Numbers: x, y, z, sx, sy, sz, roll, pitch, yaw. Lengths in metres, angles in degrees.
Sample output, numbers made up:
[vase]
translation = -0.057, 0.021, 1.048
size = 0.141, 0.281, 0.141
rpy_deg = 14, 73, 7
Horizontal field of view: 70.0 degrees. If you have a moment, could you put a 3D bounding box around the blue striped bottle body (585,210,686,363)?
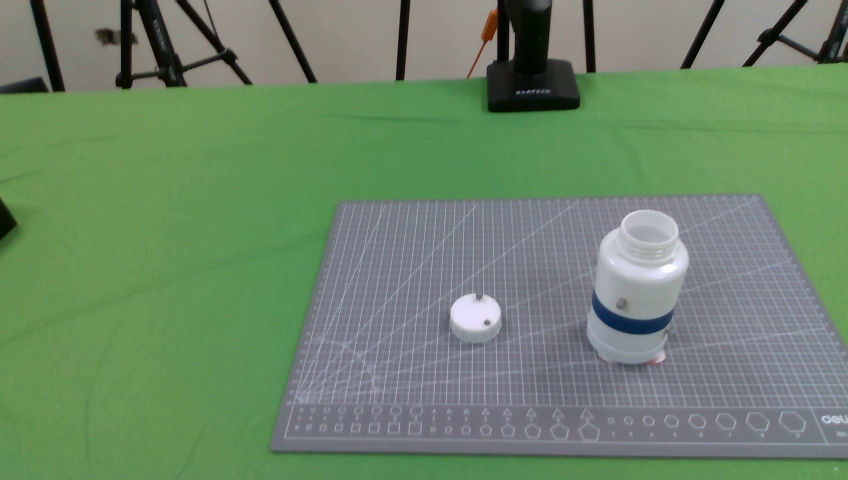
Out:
[blue striped bottle body]
translation = 0.162, 0.035, 0.467
size = 0.063, 0.122, 0.062
rpy_deg = -3, 42, 3

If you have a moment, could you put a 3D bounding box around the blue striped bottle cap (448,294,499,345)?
[blue striped bottle cap]
translation = 0.043, 0.068, 0.522
size = 0.044, 0.021, 0.044
rpy_deg = -2, 40, 2
